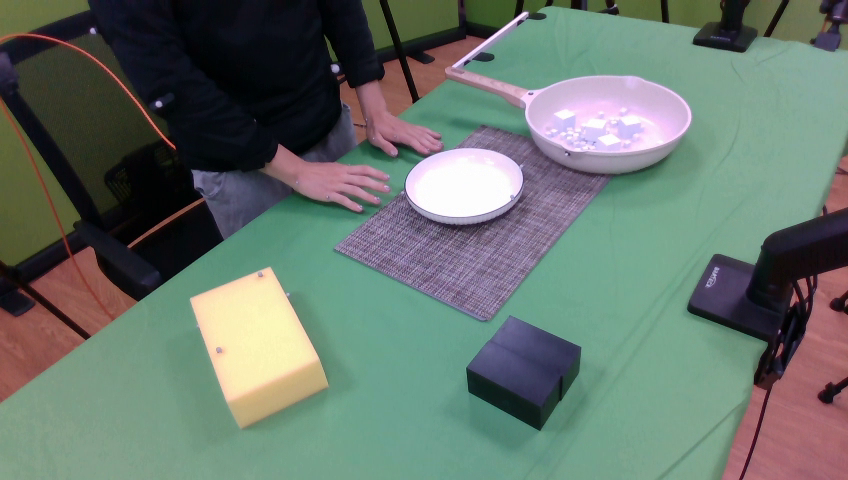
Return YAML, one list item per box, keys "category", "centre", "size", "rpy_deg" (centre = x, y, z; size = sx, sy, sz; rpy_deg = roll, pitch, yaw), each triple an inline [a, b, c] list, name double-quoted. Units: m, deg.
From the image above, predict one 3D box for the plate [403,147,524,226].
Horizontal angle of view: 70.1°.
- category: "plate"
  centre: [0.069, -0.089, 1.044]
  size: [0.207, 0.039, 0.206]
  rpy_deg: [-4, 40, 4]

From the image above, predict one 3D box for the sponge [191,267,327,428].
- category: "sponge"
  centre: [-0.226, 0.135, 0.814]
  size: [0.119, 0.061, 0.205]
  rpy_deg: [-23, 43, -19]

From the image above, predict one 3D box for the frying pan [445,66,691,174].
- category: "frying pan"
  centre: [0.250, -0.258, 1.165]
  size: [0.485, 0.103, 0.307]
  rpy_deg: [27, 48, 22]
